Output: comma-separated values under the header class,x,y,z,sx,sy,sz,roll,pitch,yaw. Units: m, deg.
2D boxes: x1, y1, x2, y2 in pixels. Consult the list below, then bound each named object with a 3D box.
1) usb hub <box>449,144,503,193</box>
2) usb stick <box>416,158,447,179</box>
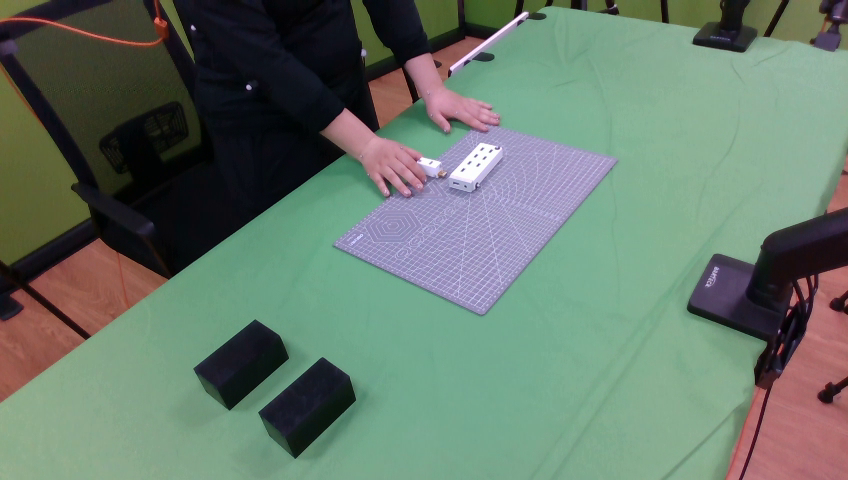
class,x,y,z,sx,sy,sz,roll,pitch,yaw
usb hub,0.096,-0.132,1.105,0.049,0.025,0.125,18,46,27
usb stick,0.016,-0.130,1.114,0.059,0.027,0.021,22,46,25
